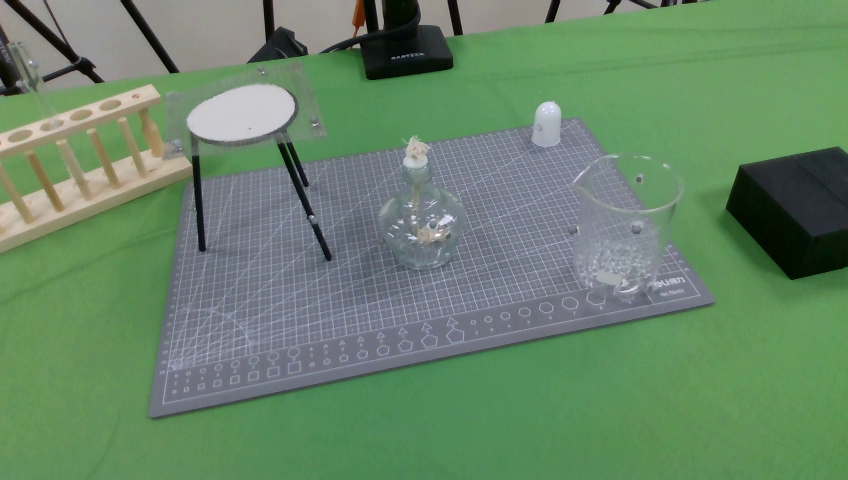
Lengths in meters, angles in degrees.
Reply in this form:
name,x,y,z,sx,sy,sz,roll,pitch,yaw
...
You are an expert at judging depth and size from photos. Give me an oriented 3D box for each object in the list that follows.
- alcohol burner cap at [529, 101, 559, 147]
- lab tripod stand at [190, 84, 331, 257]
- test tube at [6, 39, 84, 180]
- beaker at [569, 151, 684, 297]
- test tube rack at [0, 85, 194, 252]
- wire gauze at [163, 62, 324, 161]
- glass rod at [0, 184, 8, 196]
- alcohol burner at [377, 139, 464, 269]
name,x,y,z,sx,sy,sz,roll,pitch,yaw
alcohol burner cap,0.133,-0.130,0.665,0.034,0.048,0.033,-2,43,3
lab tripod stand,-0.148,-0.058,0.546,0.148,0.133,0.147,-3,45,3
test tube,-0.373,-0.124,0.602,0.017,0.151,0.017,-2,39,2
beaker,0.157,-0.010,0.491,0.084,0.101,0.073,4,43,11
test tube rack,-0.374,-0.069,0.618,0.242,0.086,0.066,-27,47,-23
wire gauze,-0.153,-0.107,0.500,0.125,0.011,0.120,-15,44,-9
glass rod,-0.428,-0.102,0.559,0.008,0.201,0.008,-4,45,4
alcohol burner,-0.004,-0.033,0.520,0.078,0.120,0.077,-3,41,3
